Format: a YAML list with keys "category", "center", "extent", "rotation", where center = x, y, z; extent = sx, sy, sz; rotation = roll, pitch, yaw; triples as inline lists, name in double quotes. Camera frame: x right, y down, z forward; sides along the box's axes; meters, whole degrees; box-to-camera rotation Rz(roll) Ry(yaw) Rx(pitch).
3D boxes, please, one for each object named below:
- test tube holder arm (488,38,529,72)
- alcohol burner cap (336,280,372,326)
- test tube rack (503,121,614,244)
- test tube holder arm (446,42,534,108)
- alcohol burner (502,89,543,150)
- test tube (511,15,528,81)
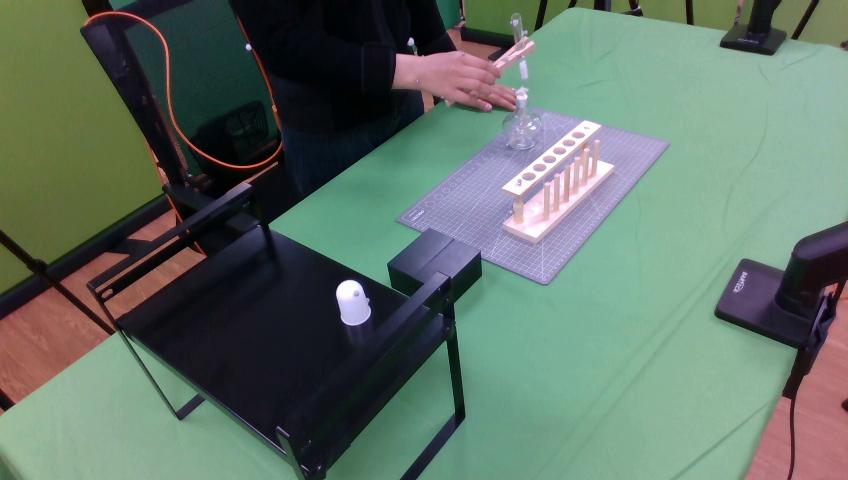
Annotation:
- category: "test tube holder arm"
  center: [0.144, -0.310, 1.029]
  extent: [0.088, 0.015, 0.010]
  rotation: [-42, 58, -7]
- category: "alcohol burner cap"
  center: [-0.073, 0.061, 0.619]
  extent: [0.034, 0.048, 0.033]
  rotation: [-4, 41, 4]
- category: "test tube rack"
  center: [0.230, -0.101, 1.006]
  extent: [0.066, 0.085, 0.243]
  rotation: [26, 50, 35]
- category: "test tube holder arm"
  center: [0.112, -0.279, 1.022]
  extent: [0.178, 0.015, 0.013]
  rotation: [-36, 57, -4]
- category: "alcohol burner"
  center: [0.186, -0.233, 1.147]
  extent: [0.078, 0.119, 0.077]
  rotation: [-5, 42, 5]
- category: "test tube"
  center: [0.164, -0.323, 1.028]
  extent: [0.017, 0.151, 0.017]
  rotation: [-6, 64, 13]
